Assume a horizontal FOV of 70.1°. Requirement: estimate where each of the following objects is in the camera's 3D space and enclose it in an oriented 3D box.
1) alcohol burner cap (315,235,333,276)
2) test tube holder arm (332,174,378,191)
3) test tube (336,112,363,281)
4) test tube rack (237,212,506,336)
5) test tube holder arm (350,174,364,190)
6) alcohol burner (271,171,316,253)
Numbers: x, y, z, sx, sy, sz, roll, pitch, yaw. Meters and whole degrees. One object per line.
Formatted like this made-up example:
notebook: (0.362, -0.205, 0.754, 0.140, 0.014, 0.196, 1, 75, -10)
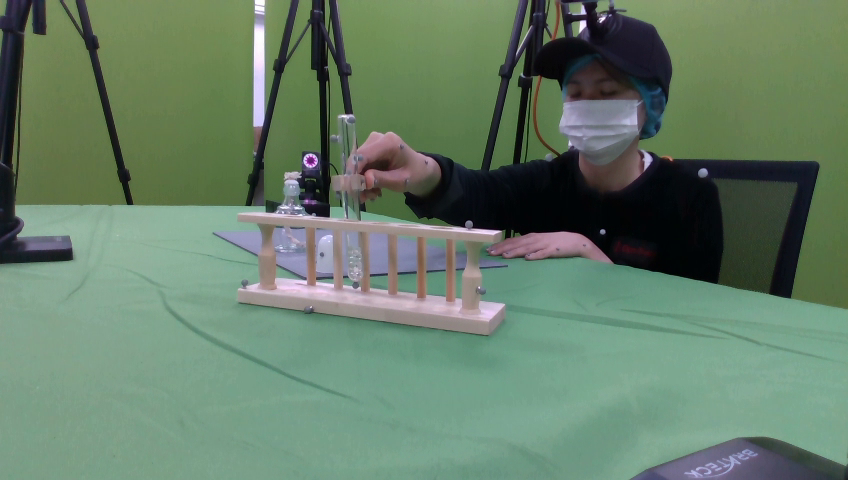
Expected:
alcohol burner cap: (-0.116, 0.018, 0.728, 0.034, 0.048, 0.034, 3, 6, 0)
test tube holder arm: (-0.065, -0.057, 0.599, 0.013, 0.015, 0.178, 2, 5, 4)
test tube: (-0.065, -0.037, 0.533, 0.017, 0.150, 0.017, -2, 11, 1)
test tube rack: (-0.049, 0.024, 0.552, 0.242, 0.085, 0.067, 5, 8, 18)
test tube holder arm: (-0.061, -0.053, 0.555, 0.010, 0.015, 0.087, 1, 5, -4)
alcohol burner: (-0.196, -0.041, 0.884, 0.078, 0.119, 0.078, 3, 5, 0)
